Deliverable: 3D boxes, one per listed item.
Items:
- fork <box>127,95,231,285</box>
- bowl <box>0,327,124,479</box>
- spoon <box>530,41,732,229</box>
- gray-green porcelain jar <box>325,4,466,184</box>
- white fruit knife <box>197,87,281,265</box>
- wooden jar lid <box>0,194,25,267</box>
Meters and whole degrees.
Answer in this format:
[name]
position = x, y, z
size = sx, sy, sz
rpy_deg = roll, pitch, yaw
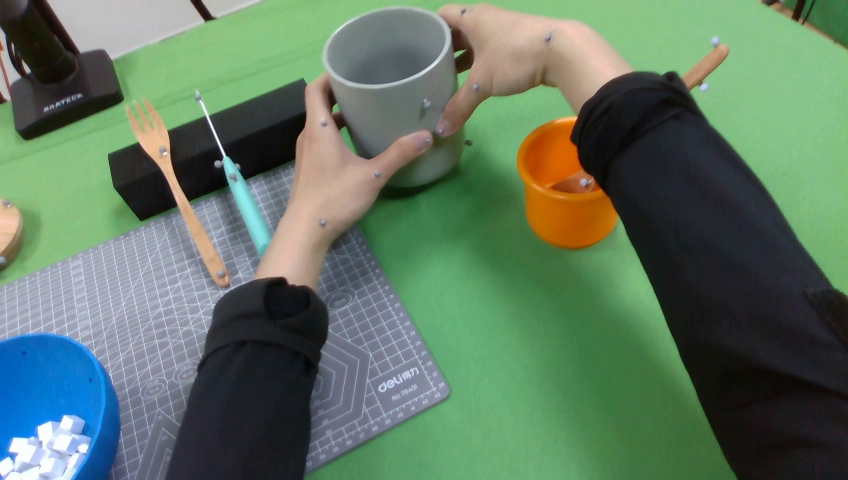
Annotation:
[fork]
position = -0.221, -0.048, 0.547
size = 0.028, 0.019, 0.206
rpy_deg = -26, 72, -17
[bowl]
position = -0.267, 0.143, 0.411
size = 0.151, 0.077, 0.150
rpy_deg = -4, 53, 6
[spoon]
position = 0.155, -0.076, 0.469
size = 0.022, 0.194, 0.041
rpy_deg = 11, 43, -41
[gray-green porcelain jar]
position = -0.019, -0.120, 0.529
size = 0.106, 0.128, 0.105
rpy_deg = -5, 53, 7
[white fruit knife]
position = -0.175, -0.067, 0.557
size = 0.016, 0.027, 0.205
rpy_deg = -26, 67, -11
[wooden jar lid]
position = -0.439, 0.001, 0.587
size = 0.108, 0.021, 0.107
rpy_deg = -3, 52, 4
